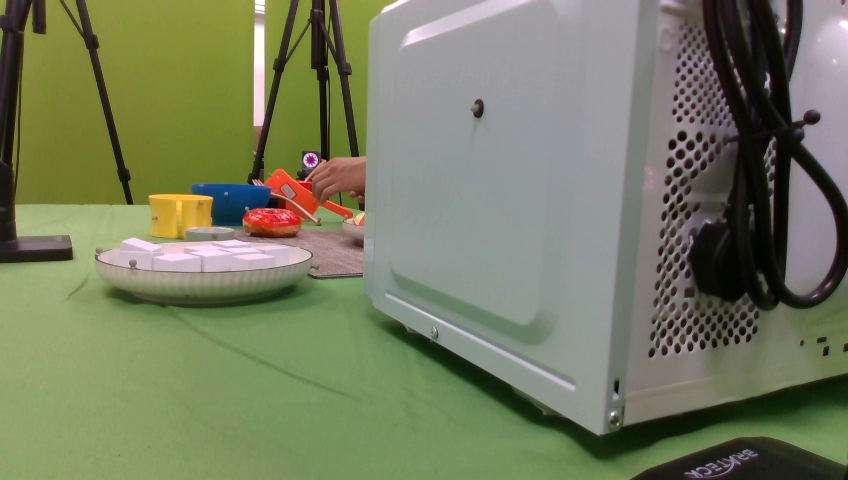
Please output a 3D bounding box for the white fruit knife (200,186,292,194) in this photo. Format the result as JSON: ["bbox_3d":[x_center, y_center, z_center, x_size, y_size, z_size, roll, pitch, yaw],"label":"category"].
[{"bbox_3d":[-0.399,-0.111,1.368,0.208,0.016,0.027,-4,-19,-30],"label":"white fruit knife"}]

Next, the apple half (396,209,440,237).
[{"bbox_3d":[-0.008,-0.036,1.053,0.081,0.033,0.081,14,26,-6],"label":"apple half"}]

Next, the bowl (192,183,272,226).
[{"bbox_3d":[-0.381,-0.071,1.202,0.151,0.077,0.151,3,7,0],"label":"bowl"}]

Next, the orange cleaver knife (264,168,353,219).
[{"bbox_3d":[-0.262,-0.088,1.353,0.211,0.077,0.012,28,13,-1],"label":"orange cleaver knife"}]

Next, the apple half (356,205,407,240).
[{"bbox_3d":[-0.065,-0.029,0.970,0.081,0.053,0.074,3,7,-27],"label":"apple half"}]

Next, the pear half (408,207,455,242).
[{"bbox_3d":[0.018,-0.026,0.999,0.076,0.056,0.110,10,6,19],"label":"pear half"}]

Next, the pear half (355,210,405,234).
[{"bbox_3d":[-0.075,-0.035,1.045,0.088,0.031,0.070,4,28,-9],"label":"pear half"}]

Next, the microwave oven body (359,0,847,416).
[{"bbox_3d":[0.211,-0.047,0.474,0.444,0.260,0.324,-1,7,-28],"label":"microwave oven body"}]

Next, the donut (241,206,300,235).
[{"bbox_3d":[-0.263,-0.032,1.039,0.099,0.048,0.099,4,9,0],"label":"donut"}]

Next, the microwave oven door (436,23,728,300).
[{"bbox_3d":[0.180,-0.073,0.621,0.358,0.243,0.039,-2,9,-29],"label":"microwave oven door"}]

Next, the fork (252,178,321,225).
[{"bbox_3d":[-0.295,-0.084,1.292,0.206,0.018,0.028,29,10,25],"label":"fork"}]

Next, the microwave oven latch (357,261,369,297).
[{"bbox_3d":[-0.019,0.033,0.530,0.079,0.029,0.030,-1,7,-26],"label":"microwave oven latch"}]

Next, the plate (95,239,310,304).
[{"bbox_3d":[-0.224,0.031,0.629,0.208,0.039,0.207,2,8,0],"label":"plate"}]

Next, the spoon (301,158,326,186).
[{"bbox_3d":[-0.320,-0.160,1.646,0.041,0.022,0.194,9,54,33],"label":"spoon"}]

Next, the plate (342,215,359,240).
[{"bbox_3d":[-0.033,-0.015,1.005,0.209,0.038,0.209,2,8,0],"label":"plate"}]

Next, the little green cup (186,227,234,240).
[{"bbox_3d":[-0.285,0.005,0.805,0.061,0.038,0.061,2,8,0],"label":"little green cup"}]

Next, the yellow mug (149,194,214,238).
[{"bbox_3d":[-0.401,-0.040,1.003,0.100,0.064,0.130,0,9,-20],"label":"yellow mug"}]
